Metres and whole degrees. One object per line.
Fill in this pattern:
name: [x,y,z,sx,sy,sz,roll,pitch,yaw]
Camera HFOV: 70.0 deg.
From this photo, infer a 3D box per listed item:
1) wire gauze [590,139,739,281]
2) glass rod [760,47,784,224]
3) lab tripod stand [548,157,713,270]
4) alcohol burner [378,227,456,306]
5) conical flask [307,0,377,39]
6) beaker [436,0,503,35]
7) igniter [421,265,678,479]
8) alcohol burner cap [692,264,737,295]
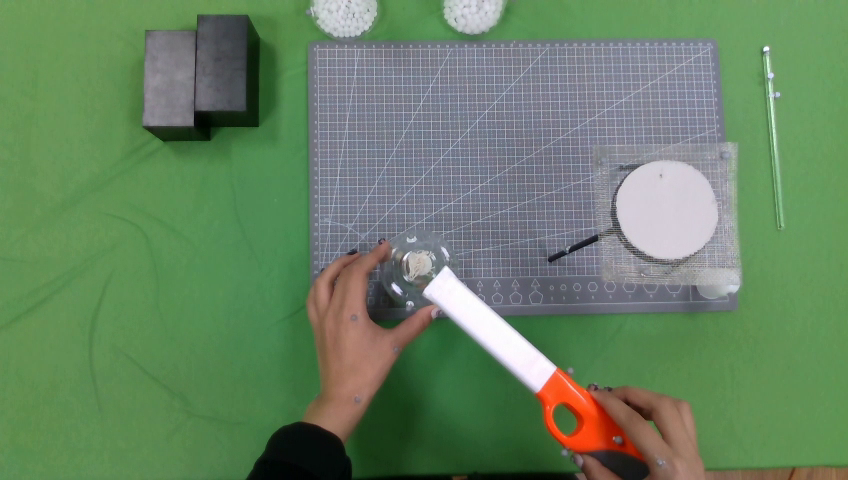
wire gauze: [0.205,-0.026,0.515,0.125,0.011,0.121,0,85,-1]
glass rod: [0.381,-0.116,0.663,0.008,0.008,0.199,-2,84,-3]
lab tripod stand: [0.199,-0.017,0.581,0.148,0.131,0.148,0,86,-1]
alcohol burner: [-0.007,0.025,0.579,0.078,0.119,0.077,0,85,-2]
conical flask: [-0.087,-0.259,0.603,0.075,0.122,0.075,0,84,-2]
beaker: [0.052,-0.261,0.621,0.084,0.100,0.074,34,84,1]
igniter: [0.108,0.125,0.512,0.276,0.025,0.057,42,74,2]
alcohol burner cap: [0.303,0.039,0.625,0.034,0.048,0.034,0,84,-2]
